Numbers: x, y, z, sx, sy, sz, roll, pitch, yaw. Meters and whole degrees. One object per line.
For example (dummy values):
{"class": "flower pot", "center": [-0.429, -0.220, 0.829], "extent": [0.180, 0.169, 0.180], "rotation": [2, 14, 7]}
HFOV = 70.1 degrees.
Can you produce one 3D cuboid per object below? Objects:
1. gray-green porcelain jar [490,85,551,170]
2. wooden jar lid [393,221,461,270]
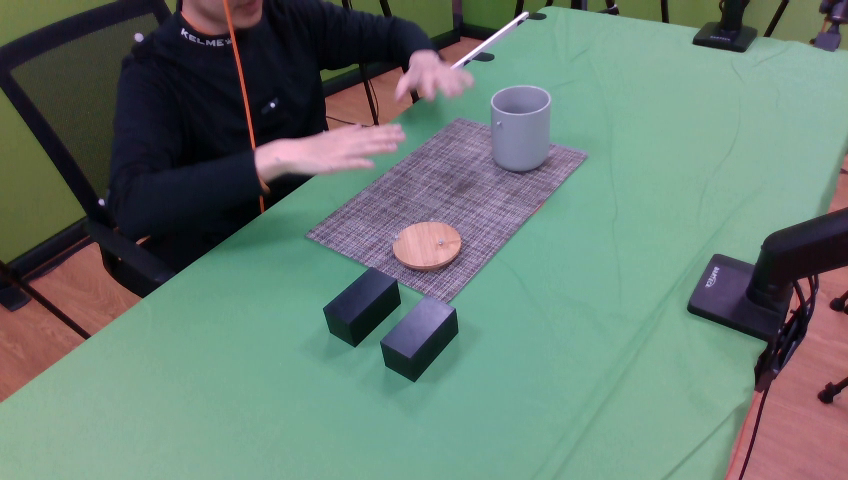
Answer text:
{"class": "gray-green porcelain jar", "center": [0.173, -0.198, 1.087], "extent": [0.106, 0.127, 0.105], "rotation": [-4, 41, 4]}
{"class": "wooden jar lid", "center": [0.005, 0.010, 0.952], "extent": [0.108, 0.021, 0.108], "rotation": [-4, 39, 4]}
